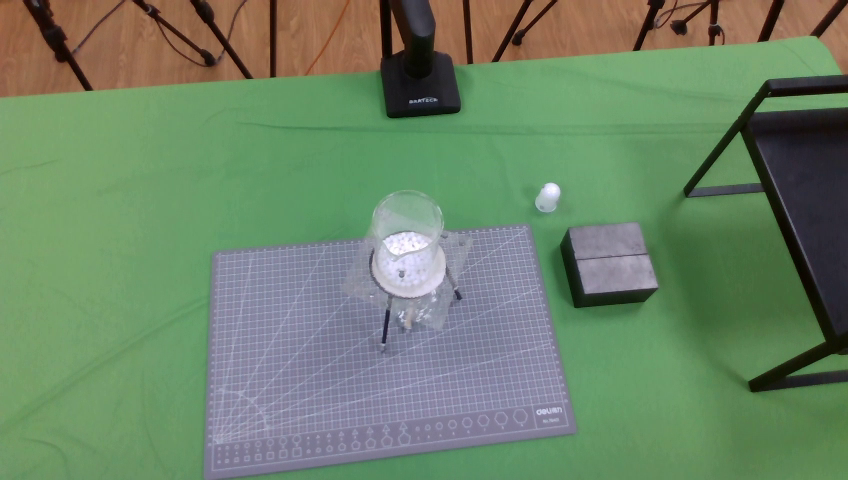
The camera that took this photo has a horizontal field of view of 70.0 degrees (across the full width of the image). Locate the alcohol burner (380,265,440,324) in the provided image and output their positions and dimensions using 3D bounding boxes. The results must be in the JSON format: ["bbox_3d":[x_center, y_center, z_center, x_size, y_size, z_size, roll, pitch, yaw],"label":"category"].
[{"bbox_3d":[-0.017,0.062,0.764,0.078,0.120,0.077,2,65,-4],"label":"alcohol burner"}]

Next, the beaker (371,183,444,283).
[{"bbox_3d":[-0.021,0.000,0.655,0.074,0.101,0.083,17,63,5],"label":"beaker"}]

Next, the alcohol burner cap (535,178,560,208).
[{"bbox_3d":[0.182,-0.071,0.885,0.034,0.048,0.033,1,63,-1],"label":"alcohol burner cap"}]

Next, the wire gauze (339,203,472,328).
[{"bbox_3d":[-0.019,0.024,0.698,0.125,0.011,0.121,22,65,4],"label":"wire gauze"}]

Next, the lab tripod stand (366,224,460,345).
[{"bbox_3d":[-0.020,0.048,0.759,0.148,0.132,0.147,2,62,-3],"label":"lab tripod stand"}]
